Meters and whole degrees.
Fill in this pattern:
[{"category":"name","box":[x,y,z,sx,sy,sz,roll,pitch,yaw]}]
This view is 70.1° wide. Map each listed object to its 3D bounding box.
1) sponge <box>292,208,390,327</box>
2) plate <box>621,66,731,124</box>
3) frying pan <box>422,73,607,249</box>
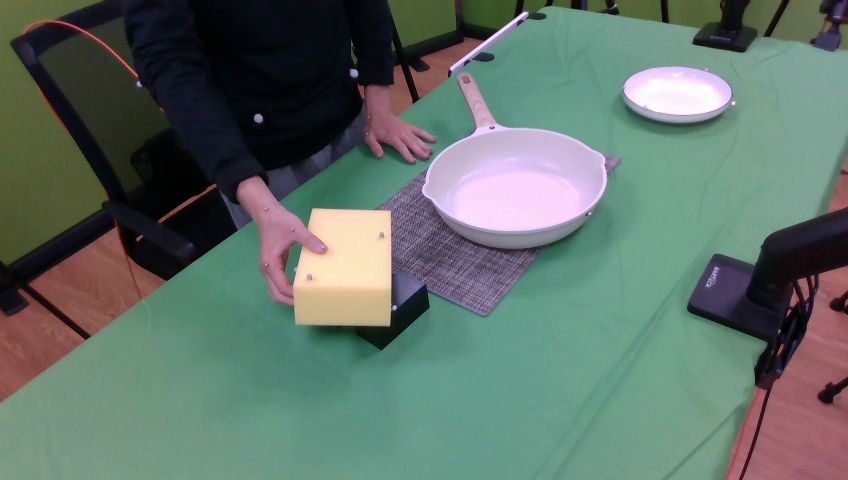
[{"category":"sponge","box":[-0.105,0.031,0.819,0.118,0.061,0.206,1,30,-5]},{"category":"plate","box":[0.503,-0.288,1.221,0.207,0.039,0.206,-4,41,4]},{"category":"frying pan","box":[0.130,-0.161,1.069,0.307,0.103,0.484,-10,49,-5]}]
